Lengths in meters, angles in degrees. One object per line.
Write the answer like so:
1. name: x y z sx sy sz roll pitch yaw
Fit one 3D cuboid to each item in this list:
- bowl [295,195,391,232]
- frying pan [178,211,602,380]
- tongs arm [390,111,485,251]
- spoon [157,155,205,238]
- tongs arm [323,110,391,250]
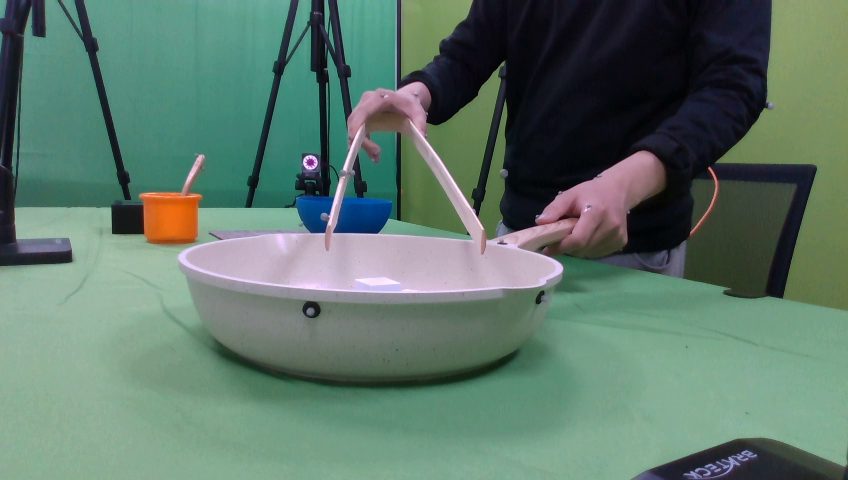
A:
1. bowl: -0.127 -0.027 0.946 0.151 0.077 0.151 2 7 0
2. frying pan: 0.035 0.019 0.556 0.490 0.102 0.305 -16 18 -42
3. tongs arm: 0.006 -0.085 0.681 0.028 0.028 0.386 -8 28 -10
4. spoon: -0.392 -0.076 0.998 0.041 0.193 0.021 2 -36 5
5. tongs arm: -0.065 -0.085 0.673 0.051 0.026 0.384 0 26 -2
